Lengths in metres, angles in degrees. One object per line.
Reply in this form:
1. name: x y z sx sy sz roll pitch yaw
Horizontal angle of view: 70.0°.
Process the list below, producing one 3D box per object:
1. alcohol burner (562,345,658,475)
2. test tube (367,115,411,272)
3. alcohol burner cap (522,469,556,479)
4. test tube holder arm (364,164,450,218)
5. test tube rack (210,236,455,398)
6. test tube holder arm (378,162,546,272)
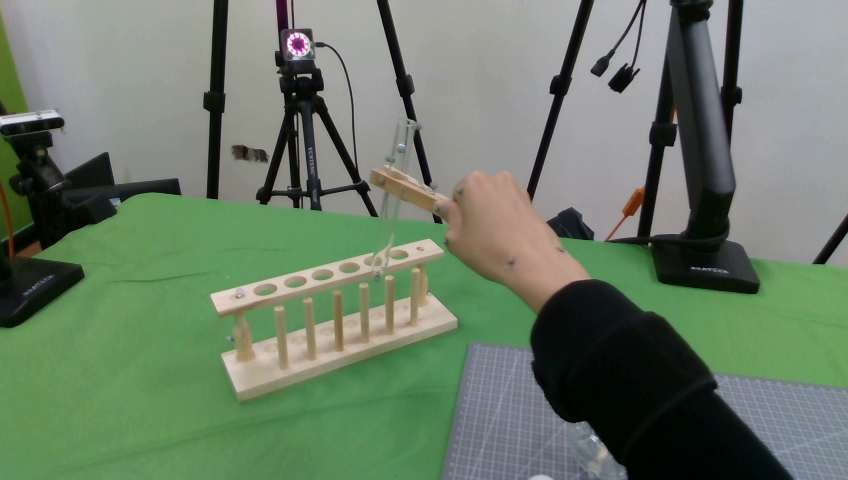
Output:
1. alcohol burner: 0.154 0.132 0.492 0.078 0.120 0.077 1 31 0
2. test tube: -0.032 -0.036 0.526 0.017 0.151 0.017 10 29 -5
3. alcohol burner cap: 0.086 0.193 0.454 0.034 0.048 0.033 2 29 0
4. test tube holder arm: -0.013 -0.041 0.502 0.087 0.015 0.010 27 33 25
5. test tube rack: -0.086 0.073 0.631 0.243 0.086 0.066 -15 33 -26
6. test tube holder arm: 0.024 -0.023 0.484 0.177 0.015 0.013 32 36 32
